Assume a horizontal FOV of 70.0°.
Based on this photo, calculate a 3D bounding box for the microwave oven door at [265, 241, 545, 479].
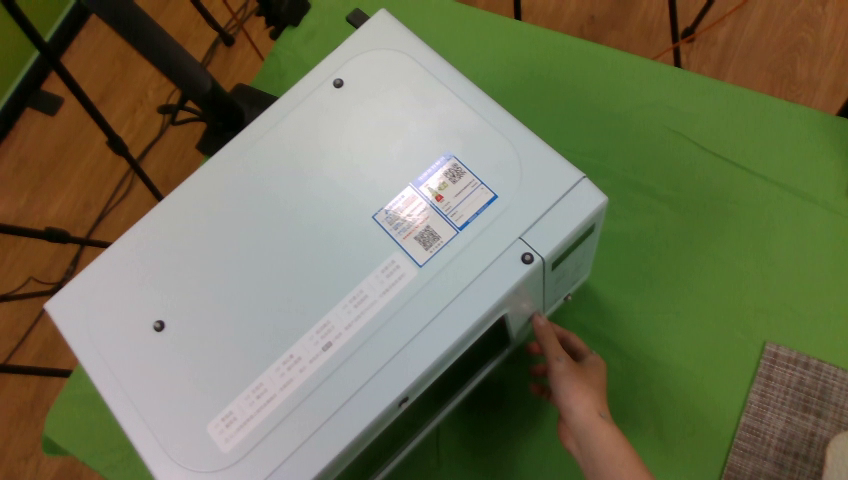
[{"bbox_3d":[-0.019,0.160,0.592,0.355,0.246,0.039,-43,68,-5],"label":"microwave oven door"}]

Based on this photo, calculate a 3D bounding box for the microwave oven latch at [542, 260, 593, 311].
[{"bbox_3d":[0.161,0.046,0.706,0.079,0.030,0.030,-41,69,-4],"label":"microwave oven latch"}]

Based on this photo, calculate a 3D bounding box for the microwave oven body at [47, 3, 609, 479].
[{"bbox_3d":[-0.084,0.037,0.652,0.441,0.262,0.323,-43,70,-5],"label":"microwave oven body"}]
